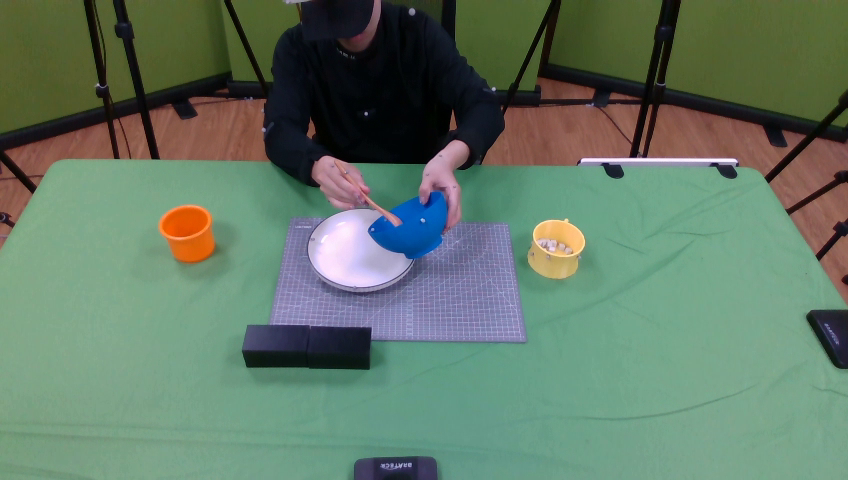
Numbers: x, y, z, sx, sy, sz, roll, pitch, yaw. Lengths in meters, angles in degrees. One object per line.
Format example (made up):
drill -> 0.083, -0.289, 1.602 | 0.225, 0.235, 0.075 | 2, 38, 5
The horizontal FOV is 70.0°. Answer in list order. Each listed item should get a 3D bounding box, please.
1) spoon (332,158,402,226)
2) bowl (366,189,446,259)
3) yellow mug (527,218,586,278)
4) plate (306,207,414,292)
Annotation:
spoon -> -0.094, -0.069, 1.065 | 0.194, 0.021, 0.041 | 44, 18, -11
bowl -> -0.019, -0.019, 1.068 | 0.151, 0.077, 0.151 | -26, 17, 9
yellow mug -> 0.261, 0.006, 1.181 | 0.100, 0.064, 0.130 | 18, 47, 14
plate -> -0.119, 0.021, 1.153 | 0.209, 0.038, 0.208 | 2, 46, -2
